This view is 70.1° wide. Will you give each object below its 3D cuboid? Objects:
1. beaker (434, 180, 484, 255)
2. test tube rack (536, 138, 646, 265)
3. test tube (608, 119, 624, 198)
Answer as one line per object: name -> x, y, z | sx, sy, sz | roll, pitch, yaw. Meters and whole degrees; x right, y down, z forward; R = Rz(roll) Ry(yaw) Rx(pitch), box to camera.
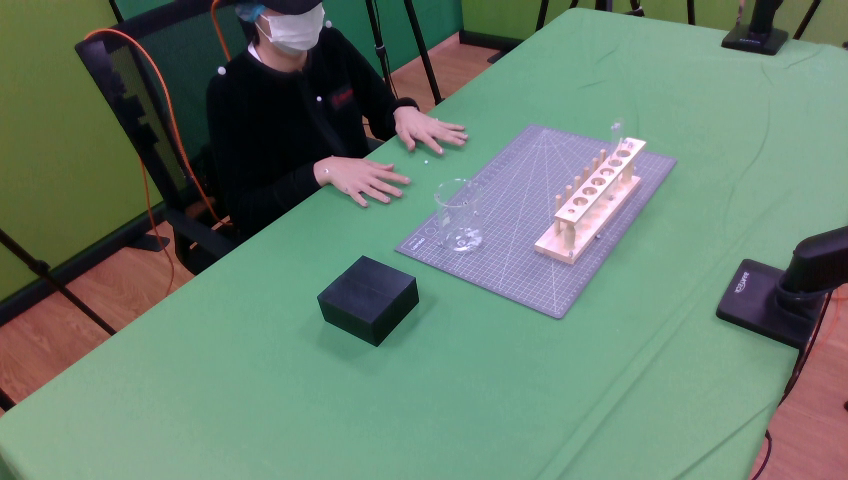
beaker -> 0.058, -0.035, 0.944 | 0.073, 0.101, 0.084 | 16, 44, 26
test tube rack -> 0.269, -0.071, 0.964 | 0.066, 0.085, 0.243 | 23, 49, 32
test tube -> 0.300, -0.124, 0.945 | 0.017, 0.151, 0.017 | -6, 44, 7
